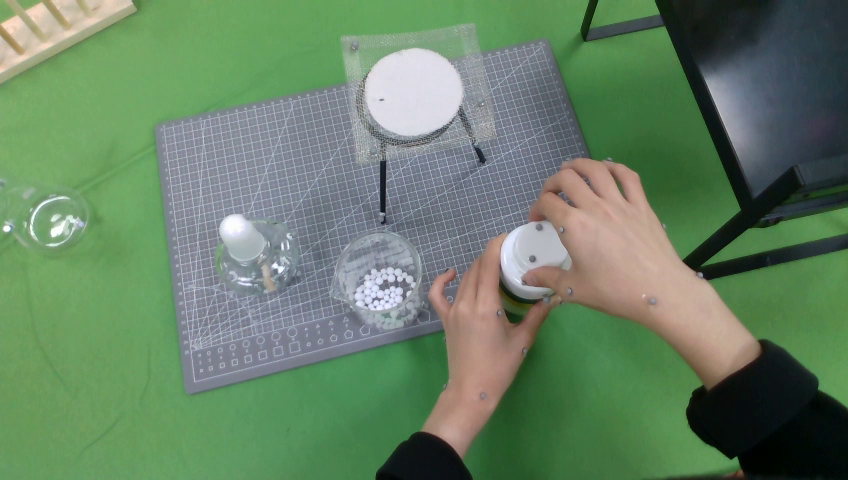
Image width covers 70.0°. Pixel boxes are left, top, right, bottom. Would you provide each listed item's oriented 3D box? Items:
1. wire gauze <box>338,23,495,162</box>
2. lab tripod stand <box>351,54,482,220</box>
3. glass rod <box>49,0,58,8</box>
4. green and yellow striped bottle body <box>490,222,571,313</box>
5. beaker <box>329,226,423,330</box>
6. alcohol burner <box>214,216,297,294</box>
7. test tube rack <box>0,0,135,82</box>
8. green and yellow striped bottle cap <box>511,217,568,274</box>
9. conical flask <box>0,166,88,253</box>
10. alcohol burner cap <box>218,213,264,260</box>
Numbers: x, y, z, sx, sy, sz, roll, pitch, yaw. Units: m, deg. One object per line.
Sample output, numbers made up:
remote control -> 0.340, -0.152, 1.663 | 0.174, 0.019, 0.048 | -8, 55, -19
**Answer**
wire gauze -> -0.008, -0.132, 0.524 | 0.121, 0.011, 0.124 | -8, 72, -3
lab tripod stand -> -0.012, -0.104, 0.586 | 0.148, 0.132, 0.147 | 0, 70, 0
glass rod -> -0.427, -0.312, 0.621 | 0.008, 0.201, 0.008 | 1, 68, -3
green and yellow striped bottle body -> 0.095, 0.024, 0.548 | 0.063, 0.120, 0.063 | 0, 71, 1
beaker -> -0.040, 0.042, 0.556 | 0.084, 0.101, 0.073 | -25, 72, -6
alcohol burner -> -0.160, 0.008, 0.563 | 0.078, 0.120, 0.077 | 0, 70, 0
test tube rack -> -0.463, -0.247, 0.671 | 0.242, 0.085, 0.066 | -33, 74, -9
green and yellow striped bottle cap -> 0.094, 0.004, 0.491 | 0.045, 0.020, 0.045 | 0, 77, 0
conical flask -> -0.390, -0.039, 0.581 | 0.075, 0.122, 0.075 | 0, 71, 2
alcohol burner cap -> -0.162, -0.006, 0.528 | 0.034, 0.048, 0.033 | 0, 64, 0
